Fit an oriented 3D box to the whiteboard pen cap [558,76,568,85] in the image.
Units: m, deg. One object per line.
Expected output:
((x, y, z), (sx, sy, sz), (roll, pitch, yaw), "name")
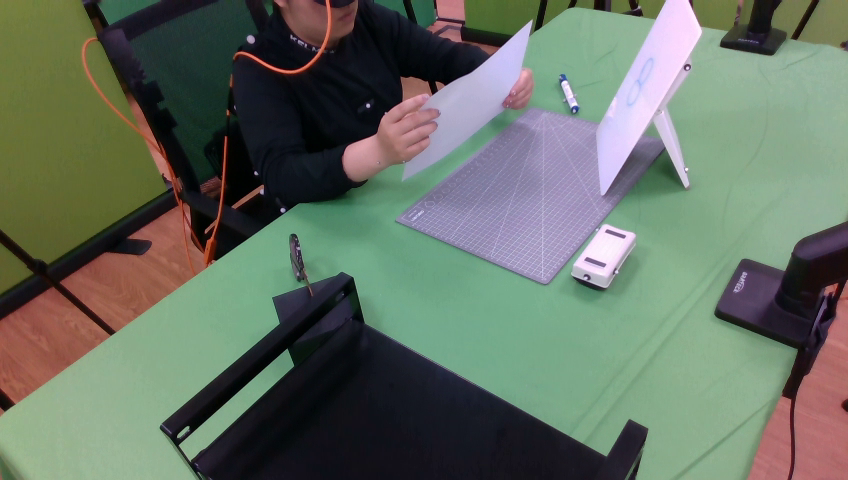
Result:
((0.310, -0.350, 1.340), (0.018, 0.018, 0.033), (-6, 42, 3), "whiteboard pen cap")

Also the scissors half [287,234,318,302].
((-0.178, 0.040, 0.885), (0.013, 0.040, 0.173), (-11, 37, -21), "scissors half")

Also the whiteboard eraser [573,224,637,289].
((0.267, 0.025, 0.891), (0.055, 0.042, 0.113), (19, 47, 31), "whiteboard eraser")

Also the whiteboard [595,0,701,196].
((0.421, -0.227, 1.010), (0.144, 0.305, 0.216), (18, 42, -2), "whiteboard")

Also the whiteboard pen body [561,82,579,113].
((0.310, -0.311, 1.298), (0.017, 0.017, 0.140), (-6, 41, 2), "whiteboard pen body")

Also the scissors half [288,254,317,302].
((-0.178, 0.058, 0.894), (0.013, 0.040, 0.174), (-15, 20, -18), "scissors half")
